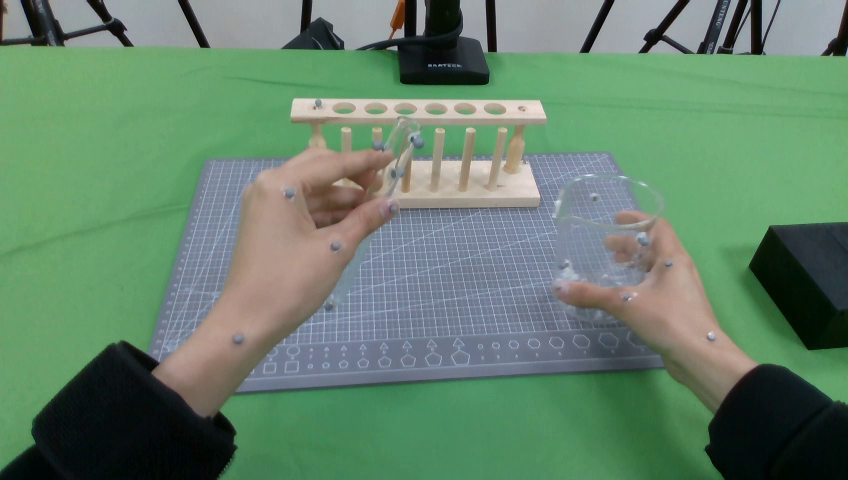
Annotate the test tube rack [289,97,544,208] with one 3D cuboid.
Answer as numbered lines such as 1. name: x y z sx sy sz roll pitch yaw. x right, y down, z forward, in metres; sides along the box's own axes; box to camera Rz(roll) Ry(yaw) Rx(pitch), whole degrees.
1. test tube rack: -0.007 -0.086 0.598 0.243 0.086 0.066 -1 43 -5

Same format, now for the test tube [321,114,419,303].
1. test tube: -0.038 -0.013 0.380 0.017 0.151 0.017 18 37 -14

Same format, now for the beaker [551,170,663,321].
1. beaker: 0.136 0.007 0.474 0.084 0.101 0.073 -14 38 -14
